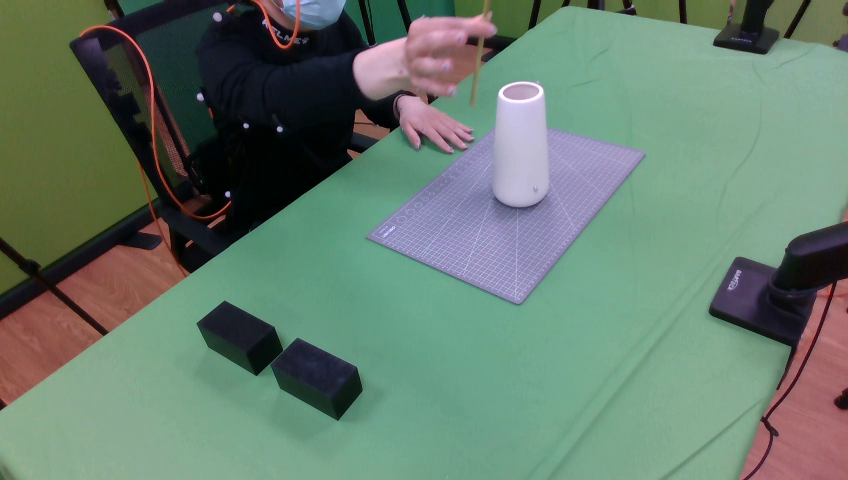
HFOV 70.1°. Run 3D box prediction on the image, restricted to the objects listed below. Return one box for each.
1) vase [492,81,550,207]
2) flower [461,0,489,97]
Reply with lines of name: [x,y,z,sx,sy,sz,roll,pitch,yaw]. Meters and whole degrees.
vase: [0.159,-0.151,0.982,0.098,0.201,0.097,-3,41,3]
flower: [0.073,-0.281,0.667,0.038,0.362,0.044,-31,70,-20]
